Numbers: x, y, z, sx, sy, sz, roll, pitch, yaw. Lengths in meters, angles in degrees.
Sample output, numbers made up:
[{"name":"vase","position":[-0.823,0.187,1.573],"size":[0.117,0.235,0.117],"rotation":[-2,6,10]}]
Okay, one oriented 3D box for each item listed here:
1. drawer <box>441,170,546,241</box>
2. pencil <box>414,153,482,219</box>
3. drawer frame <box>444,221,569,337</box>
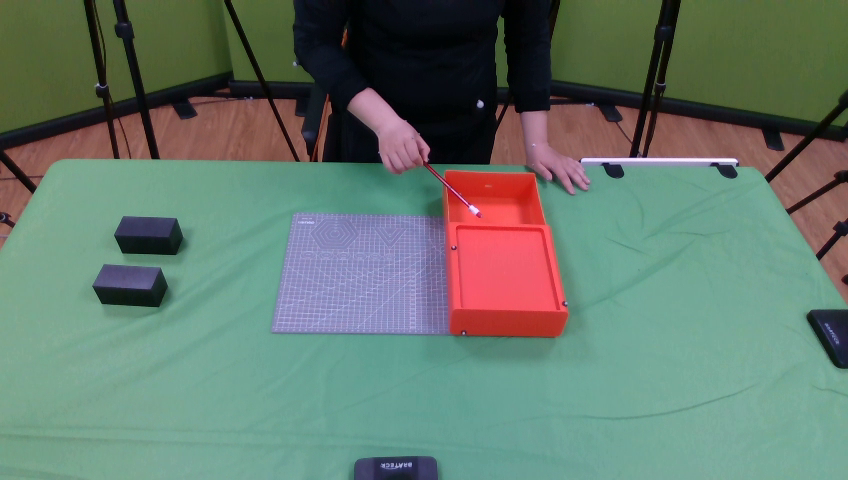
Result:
[{"name":"drawer","position":[0.137,-0.048,1.214],"size":[0.195,0.073,0.210],"rotation":[2,44,-4]},{"name":"pencil","position":[0.045,-0.108,1.191],"size":[0.012,0.012,0.193],"rotation":[-34,71,-31]},{"name":"drawer frame","position":[0.141,0.067,1.097],"size":[0.202,0.083,0.212],"rotation":[2,46,-4]}]
